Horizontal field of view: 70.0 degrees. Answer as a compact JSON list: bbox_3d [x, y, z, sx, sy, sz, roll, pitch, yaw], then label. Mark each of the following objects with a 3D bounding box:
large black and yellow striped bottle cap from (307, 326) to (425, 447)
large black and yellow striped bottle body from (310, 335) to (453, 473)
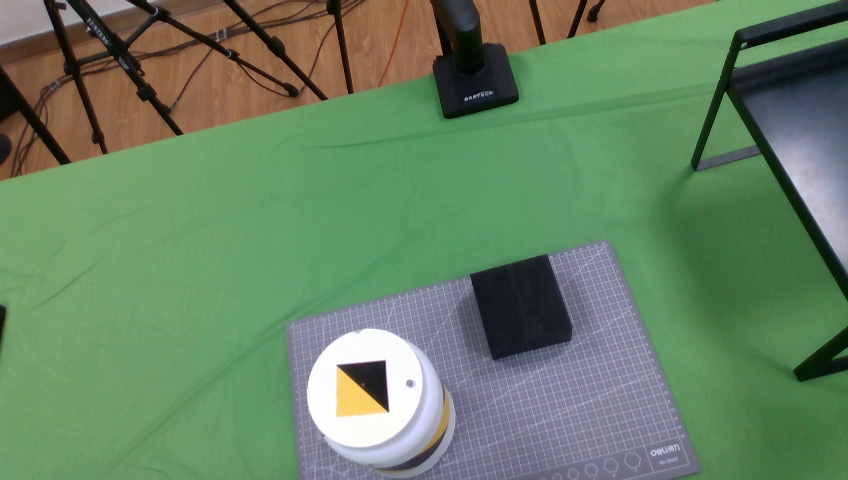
[{"bbox_3d":[-0.057,0.139,0.584,0.115,0.019,0.114,-5,64,10],"label":"large black and yellow striped bottle cap"},{"bbox_3d":[-0.043,0.176,0.658,0.130,0.185,0.129,-4,63,9],"label":"large black and yellow striped bottle body"}]
